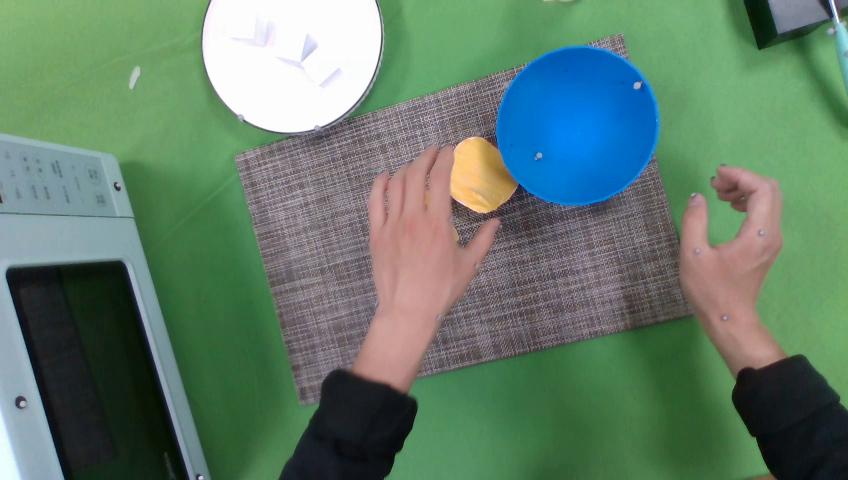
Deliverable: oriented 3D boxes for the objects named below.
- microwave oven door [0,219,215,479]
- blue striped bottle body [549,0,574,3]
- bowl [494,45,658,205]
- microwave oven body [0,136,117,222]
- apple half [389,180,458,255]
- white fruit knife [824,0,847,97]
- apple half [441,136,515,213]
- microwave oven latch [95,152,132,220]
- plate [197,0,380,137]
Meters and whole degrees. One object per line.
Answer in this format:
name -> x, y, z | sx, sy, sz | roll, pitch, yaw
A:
microwave oven door -> -0.322, 0.152, 0.596 | 0.039, 0.244, 0.355 | -17, 89, 10
blue striped bottle body -> 0.138, -0.281, 0.584 | 0.063, 0.121, 0.063 | 0, 91, 10
bowl -> 0.147, -0.108, 0.606 | 0.151, 0.077, 0.151 | 0, 92, 10
microwave oven body -> -0.471, 0.154, 0.626 | 0.326, 0.260, 0.441 | -17, 89, 9
apple half -> -0.006, -0.017, 0.638 | 0.053, 0.074, 0.081 | -36, 89, 13
white fruit knife -> 0.384, -0.196, 0.563 | 0.016, 0.027, 0.208 | -21, 105, 27
apple half -> 0.055, -0.070, 0.644 | 0.081, 0.032, 0.081 | 0, 105, 1
microwave oven latch -> -0.366, -0.060, 0.699 | 0.030, 0.029, 0.079 | -16, 90, 9
plate -> -0.148, -0.217, 0.677 | 0.207, 0.039, 0.207 | 0, 92, 9
